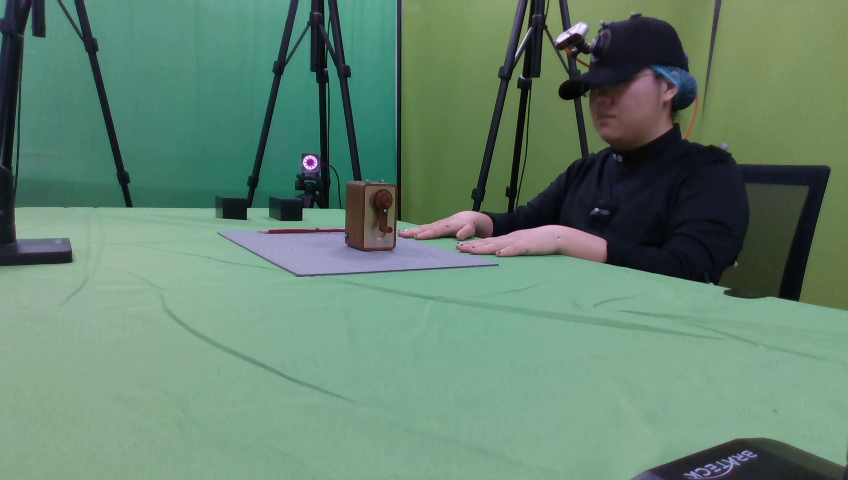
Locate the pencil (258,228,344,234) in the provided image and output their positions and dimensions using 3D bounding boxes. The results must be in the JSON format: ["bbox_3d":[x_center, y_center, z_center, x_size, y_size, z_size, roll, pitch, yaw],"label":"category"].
[{"bbox_3d":[-0.212,-0.017,1.131,0.195,0.012,0.012,-2,8,-26],"label":"pencil"}]

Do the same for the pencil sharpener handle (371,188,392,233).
[{"bbox_3d":[-0.058,-0.044,0.913,0.036,0.067,0.030,-1,8,-31],"label":"pencil sharpener handle"}]

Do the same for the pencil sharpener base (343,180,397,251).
[{"bbox_3d":[-0.085,-0.039,0.958,0.062,0.107,0.076,-1,8,-31],"label":"pencil sharpener base"}]
